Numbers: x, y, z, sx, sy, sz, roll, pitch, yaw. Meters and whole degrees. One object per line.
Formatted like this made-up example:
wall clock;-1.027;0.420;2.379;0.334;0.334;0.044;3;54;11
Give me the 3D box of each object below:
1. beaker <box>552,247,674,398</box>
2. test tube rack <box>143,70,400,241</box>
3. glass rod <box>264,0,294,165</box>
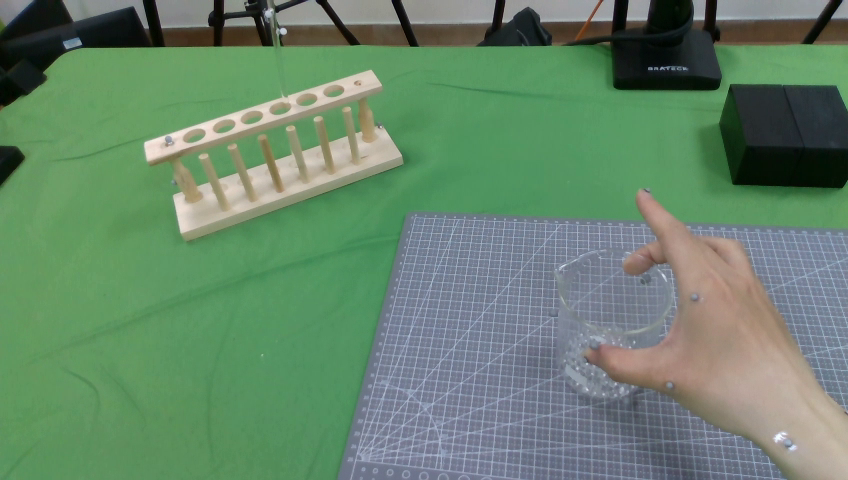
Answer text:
beaker;0.131;0.064;0.447;0.083;0.101;0.074;23;55;26
test tube rack;-0.153;-0.090;0.637;0.242;0.086;0.066;-21;49;-11
glass rod;-0.143;-0.157;0.606;0.008;0.201;0.008;0;41;1
